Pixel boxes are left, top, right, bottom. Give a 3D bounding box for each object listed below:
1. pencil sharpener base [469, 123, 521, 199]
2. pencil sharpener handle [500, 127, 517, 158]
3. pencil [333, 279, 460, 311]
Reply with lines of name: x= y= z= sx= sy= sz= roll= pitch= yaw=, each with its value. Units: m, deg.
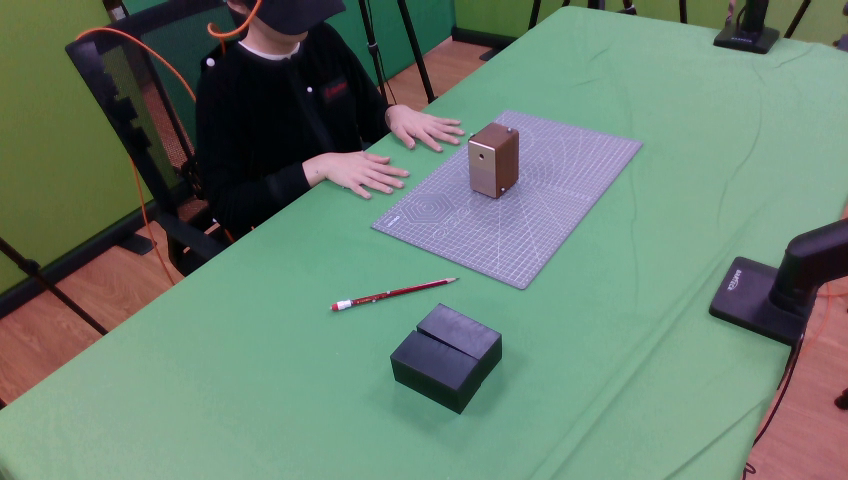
pencil sharpener base: x=0.126 y=-0.138 z=1.050 sx=0.061 sy=0.107 sz=0.077 roll=24 pitch=50 yaw=33
pencil sharpener handle: x=0.155 y=-0.177 z=1.072 sx=0.036 sy=0.068 sz=0.031 roll=32 pitch=53 yaw=24
pencil: x=-0.039 y=0.080 z=0.900 sx=0.194 sy=0.012 sz=0.012 roll=-12 pitch=40 yaw=-7
